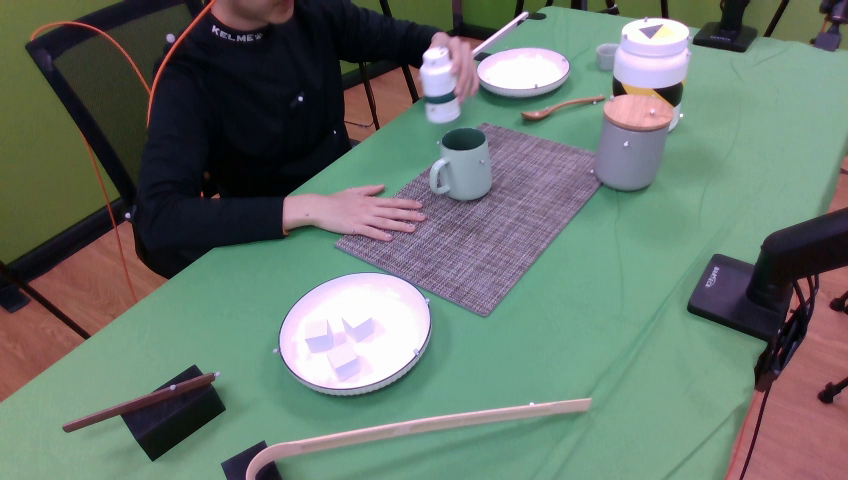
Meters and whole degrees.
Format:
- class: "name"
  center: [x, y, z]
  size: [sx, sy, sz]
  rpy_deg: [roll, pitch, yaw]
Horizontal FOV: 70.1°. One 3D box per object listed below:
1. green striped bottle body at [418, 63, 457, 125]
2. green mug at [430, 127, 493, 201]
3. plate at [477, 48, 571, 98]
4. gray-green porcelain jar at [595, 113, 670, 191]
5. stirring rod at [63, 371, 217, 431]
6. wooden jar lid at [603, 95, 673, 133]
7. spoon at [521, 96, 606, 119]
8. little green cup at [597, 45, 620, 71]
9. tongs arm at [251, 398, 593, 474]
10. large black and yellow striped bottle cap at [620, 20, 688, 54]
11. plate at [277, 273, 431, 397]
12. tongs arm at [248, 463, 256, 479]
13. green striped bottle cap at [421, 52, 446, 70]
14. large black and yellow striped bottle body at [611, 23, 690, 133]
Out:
- class: "green striped bottle body"
  center: [0.025, -0.276, 1.097]
  size: [0.063, 0.120, 0.063]
  rpy_deg: [-6, 38, 5]
- class: "green mug"
  center: [0.059, -0.122, 1.034]
  size: [0.126, 0.105, 0.092]
  rpy_deg: [-35, 48, -28]
- class: "plate"
  center: [0.223, -0.371, 1.357]
  size: [0.209, 0.038, 0.208]
  rpy_deg: [-4, 41, 4]
- class: "gray-green porcelain jar"
  center: [0.346, -0.155, 1.017]
  size: [0.106, 0.127, 0.105]
  rpy_deg: [-2, 44, 2]
- class: "stirring rod"
  center: [-0.337, 0.192, 0.723]
  size: [0.177, 0.014, 0.005]
  rpy_deg: [-18, 43, -12]
- class: "wooden jar lid"
  center: [0.343, -0.200, 0.974]
  size: [0.108, 0.021, 0.108]
  rpy_deg: [-2, 39, 2]
- class: "spoon"
  center: [0.291, -0.277, 1.249]
  size: [0.194, 0.022, 0.041]
  rpy_deg: [-18, 22, -11]
- class: "little green cup"
  center: [0.423, -0.413, 1.376]
  size: [0.061, 0.039, 0.061]
  rpy_deg: [-4, 41, 4]
- class: "tongs arm"
  center: [0.008, 0.212, 0.675]
  size: [0.389, 0.028, 0.028]
  rpy_deg: [-5, 46, -11]
- class: "large black and yellow striped bottle cap"
  center: [0.411, -0.363, 1.080]
  size: [0.115, 0.019, 0.114]
  rpy_deg: [-3, 42, 4]
- class: "plate"
  center: [-0.091, 0.129, 0.821]
  size: [0.207, 0.039, 0.206]
  rpy_deg: [-4, 40, 4]
- class: "tongs arm"
  center: [0.012, 0.262, 0.615]
  size: [0.385, 0.026, 0.050]
  rpy_deg: [2, 41, -2]
- class: "green striped bottle cap"
  center: [0.016, -0.315, 1.064]
  size: [0.044, 0.020, 0.044]
  rpy_deg: [-8, 37, 7]
- class: "large black and yellow striped bottle body"
  center: [0.420, -0.299, 1.132]
  size: [0.131, 0.185, 0.130]
  rpy_deg: [-5, 40, 4]
